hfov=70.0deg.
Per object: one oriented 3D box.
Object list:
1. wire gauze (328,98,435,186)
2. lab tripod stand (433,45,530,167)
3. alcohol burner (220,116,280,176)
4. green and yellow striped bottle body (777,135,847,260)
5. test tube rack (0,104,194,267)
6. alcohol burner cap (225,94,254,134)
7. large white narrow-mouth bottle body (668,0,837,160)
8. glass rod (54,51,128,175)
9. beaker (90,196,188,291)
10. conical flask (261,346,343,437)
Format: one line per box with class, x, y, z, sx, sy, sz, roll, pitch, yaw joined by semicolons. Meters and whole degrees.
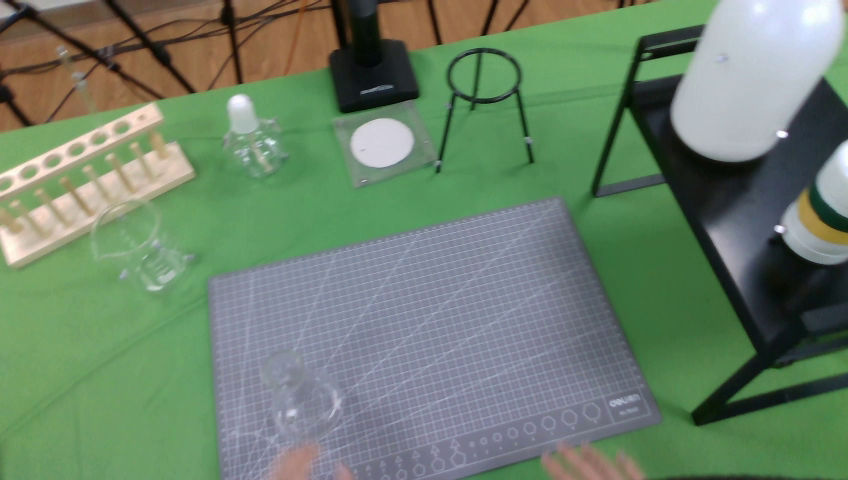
wire gauze;-0.060;-0.140;0.831;0.121;0.011;0.124;-17;60;-9
lab tripod stand;0.072;-0.166;0.769;0.148;0.132;0.147;0;58;1
alcohol burner;-0.228;-0.138;0.777;0.078;0.120;0.077;-1;56;2
green and yellow striped bottle body;0.337;-0.039;0.478;0.063;0.121;0.062;-1;59;3
test tube rack;-0.429;-0.070;0.761;0.242;0.086;0.066;-31;63;-15
alcohol burner cap;-0.230;-0.159;0.747;0.034;0.048;0.033;4;56;-5
large white narrow-mouth bottle body;0.281;-0.164;0.513;0.102;0.196;0.101;-2;57;3
glass rod;-0.394;-0.144;0.726;0.008;0.201;0.008;1;56;-1
beaker;-0.326;0.010;0.701;0.073;0.101;0.083;28;64;19
conical flask;-0.126;0.143;0.596;0.075;0.123;0.074;-1;59;2
